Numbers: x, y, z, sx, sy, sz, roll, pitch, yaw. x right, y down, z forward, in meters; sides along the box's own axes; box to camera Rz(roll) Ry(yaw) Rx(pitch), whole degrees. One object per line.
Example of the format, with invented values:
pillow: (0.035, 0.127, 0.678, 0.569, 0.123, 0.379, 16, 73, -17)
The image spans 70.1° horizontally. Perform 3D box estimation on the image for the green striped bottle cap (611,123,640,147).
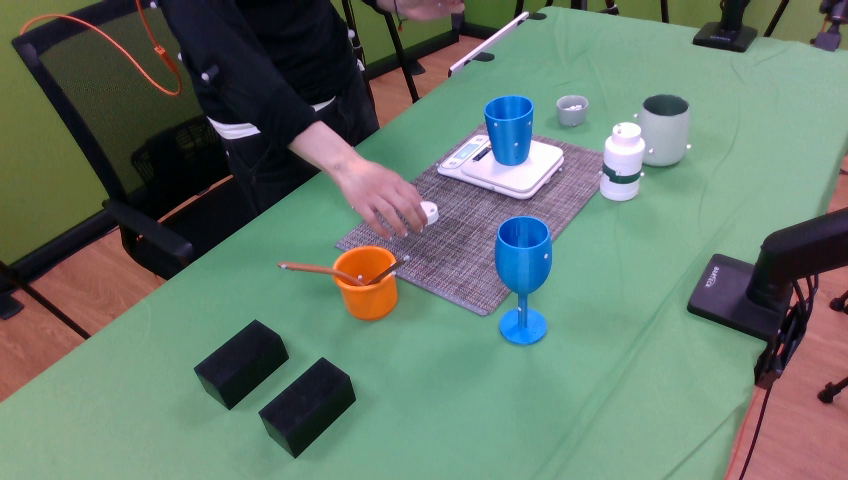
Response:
green striped bottle cap: (0.322, -0.168, 0.963, 0.044, 0.020, 0.044, -3, 41, 3)

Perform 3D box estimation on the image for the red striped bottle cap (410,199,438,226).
red striped bottle cap: (0.000, -0.044, 0.940, 0.044, 0.018, 0.044, -5, 46, 6)

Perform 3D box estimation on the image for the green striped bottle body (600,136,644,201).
green striped bottle body: (0.326, -0.128, 0.997, 0.063, 0.120, 0.063, -4, 41, 4)

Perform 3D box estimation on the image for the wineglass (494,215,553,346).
wineglass: (0.127, 0.055, 0.770, 0.074, 0.173, 0.073, -4, 40, 4)

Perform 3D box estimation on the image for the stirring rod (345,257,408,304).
stirring rod: (-0.067, 0.057, 0.815, 0.014, 0.175, 0.006, -24, 82, -38)

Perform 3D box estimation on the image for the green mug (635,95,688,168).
green mug: (0.421, -0.201, 1.081, 0.092, 0.105, 0.125, 5, 42, 15)

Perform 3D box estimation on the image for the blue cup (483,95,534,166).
blue cup: (0.149, -0.187, 1.051, 0.092, 0.101, 0.092, -6, 41, 6)

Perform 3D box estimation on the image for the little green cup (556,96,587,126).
little green cup: (0.295, -0.258, 1.214, 0.061, 0.039, 0.061, -4, 42, 4)

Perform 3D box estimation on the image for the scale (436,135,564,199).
scale: (0.137, -0.142, 1.101, 0.199, 0.032, 0.149, 22, 48, 30)

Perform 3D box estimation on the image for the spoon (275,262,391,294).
spoon: (-0.120, 0.050, 0.830, 0.041, 0.195, 0.021, 30, 96, 45)
